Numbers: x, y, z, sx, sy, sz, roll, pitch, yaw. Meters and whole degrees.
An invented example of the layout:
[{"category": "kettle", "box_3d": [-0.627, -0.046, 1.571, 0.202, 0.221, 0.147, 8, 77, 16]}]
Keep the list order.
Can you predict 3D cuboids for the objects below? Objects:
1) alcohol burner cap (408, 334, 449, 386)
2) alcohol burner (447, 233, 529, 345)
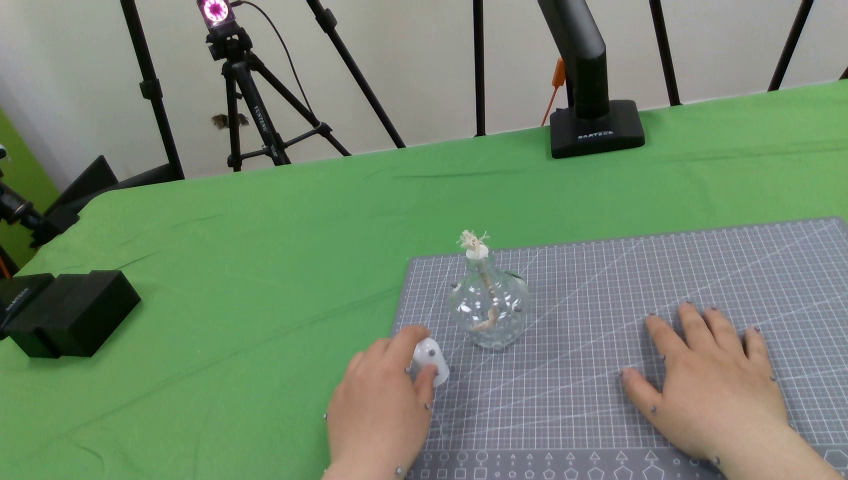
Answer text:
[{"category": "alcohol burner cap", "box_3d": [0.003, 0.106, 0.554, 0.034, 0.048, 0.033, -9, 39, 8]}, {"category": "alcohol burner", "box_3d": [0.057, 0.040, 0.559, 0.078, 0.120, 0.077, -9, 38, 8]}]
